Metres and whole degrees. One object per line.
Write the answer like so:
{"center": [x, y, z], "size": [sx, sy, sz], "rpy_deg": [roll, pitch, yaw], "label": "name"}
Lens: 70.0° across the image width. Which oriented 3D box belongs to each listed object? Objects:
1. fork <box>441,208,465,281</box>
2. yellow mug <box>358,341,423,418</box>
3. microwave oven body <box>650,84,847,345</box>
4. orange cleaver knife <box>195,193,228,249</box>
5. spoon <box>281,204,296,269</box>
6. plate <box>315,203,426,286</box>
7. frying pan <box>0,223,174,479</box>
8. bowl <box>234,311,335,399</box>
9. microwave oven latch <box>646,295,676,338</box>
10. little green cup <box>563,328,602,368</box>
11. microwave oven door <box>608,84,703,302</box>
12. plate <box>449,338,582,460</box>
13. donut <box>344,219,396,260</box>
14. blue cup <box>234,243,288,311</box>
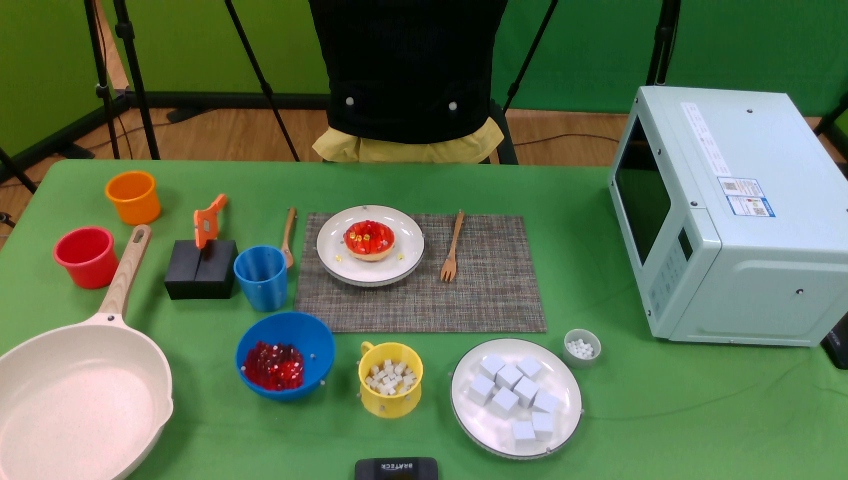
{"center": [0.061, 0.005, 1.190], "size": [0.028, 0.019, 0.206], "rpy_deg": [3, 47, 13], "label": "fork"}
{"center": [-0.063, 0.210, 0.961], "size": [0.100, 0.064, 0.130], "rpy_deg": [-29, 54, -27], "label": "yellow mug"}
{"center": [0.569, -0.054, 1.116], "size": [0.326, 0.261, 0.439], "rpy_deg": [2, 46, -1], "label": "microwave oven body"}
{"center": [-0.406, -0.041, 1.163], "size": [0.012, 0.077, 0.210], "rpy_deg": [-1, 18, -3], "label": "orange cleaver knife"}
{"center": [-0.266, -0.007, 1.182], "size": [0.041, 0.022, 0.192], "rpy_deg": [-14, 46, 12], "label": "spoon"}
{"center": [-0.101, 0.012, 1.159], "size": [0.209, 0.038, 0.208], "rpy_deg": [2, 46, -2], "label": "plate"}
{"center": [-0.505, 0.169, 0.941], "size": [0.307, 0.103, 0.485], "rpy_deg": [5, 54, -1], "label": "frying pan"}
{"center": [-0.214, 0.194, 0.956], "size": [0.151, 0.077, 0.150], "rpy_deg": [2, 46, -2], "label": "bowl"}
{"center": [0.413, 0.133, 1.060], "size": [0.030, 0.029, 0.078], "rpy_deg": [4, 46, 1], "label": "microwave oven latch"}
{"center": [0.266, 0.185, 1.025], "size": [0.061, 0.039, 0.061], "rpy_deg": [3, 45, -3], "label": "little green cup"}
{"center": [0.424, -0.096, 1.138], "size": [0.039, 0.245, 0.353], "rpy_deg": [2, 46, -1], "label": "microwave oven door"}
{"center": [0.141, 0.251, 0.955], "size": [0.208, 0.039, 0.206], "rpy_deg": [2, 46, -2], "label": "plate"}
{"center": [-0.103, -0.002, 1.158], "size": [0.099, 0.048, 0.098], "rpy_deg": [2, 43, -2], "label": "donut"}
{"center": [-0.276, 0.072, 1.052], "size": [0.093, 0.101, 0.092], "rpy_deg": [1, 48, -1], "label": "blue cup"}
